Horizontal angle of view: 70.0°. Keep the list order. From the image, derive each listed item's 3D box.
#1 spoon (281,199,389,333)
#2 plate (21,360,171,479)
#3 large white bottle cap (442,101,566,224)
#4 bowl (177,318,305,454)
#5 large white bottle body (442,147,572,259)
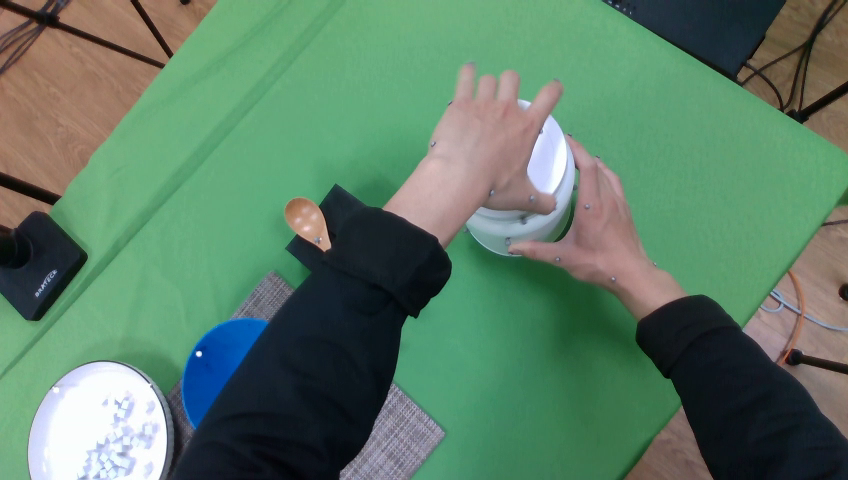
[{"bbox_3d":[-0.103,0.031,0.709,0.041,0.022,0.193,-37,81,-2],"label":"spoon"},{"bbox_3d":[-0.408,0.257,0.766,0.208,0.038,0.208,-3,78,13],"label":"plate"},{"bbox_3d":[0.074,-0.072,0.562,0.114,0.018,0.114,-2,81,13],"label":"large white bottle cap"},{"bbox_3d":[-0.202,0.170,0.719,0.151,0.077,0.151,-2,80,11],"label":"bowl"},{"bbox_3d":[0.090,-0.056,0.648,0.130,0.185,0.130,-2,79,11],"label":"large white bottle body"}]
